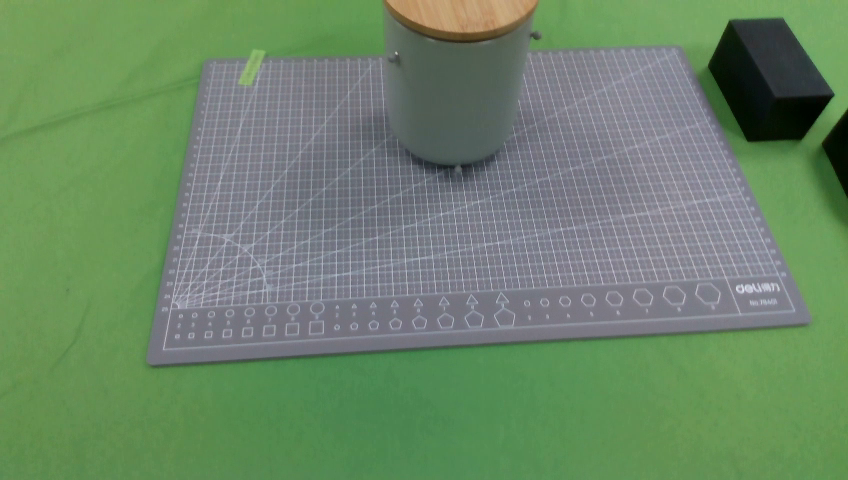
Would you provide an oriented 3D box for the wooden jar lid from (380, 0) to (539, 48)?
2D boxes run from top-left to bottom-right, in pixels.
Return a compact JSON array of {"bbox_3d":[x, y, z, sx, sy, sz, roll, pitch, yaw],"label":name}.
[{"bbox_3d":[0.023,-0.164,0.412,0.108,0.021,0.107,1,57,-1],"label":"wooden jar lid"}]

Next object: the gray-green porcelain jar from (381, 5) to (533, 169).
[{"bbox_3d":[0.022,-0.126,0.464,0.106,0.127,0.105,1,55,-1],"label":"gray-green porcelain jar"}]
